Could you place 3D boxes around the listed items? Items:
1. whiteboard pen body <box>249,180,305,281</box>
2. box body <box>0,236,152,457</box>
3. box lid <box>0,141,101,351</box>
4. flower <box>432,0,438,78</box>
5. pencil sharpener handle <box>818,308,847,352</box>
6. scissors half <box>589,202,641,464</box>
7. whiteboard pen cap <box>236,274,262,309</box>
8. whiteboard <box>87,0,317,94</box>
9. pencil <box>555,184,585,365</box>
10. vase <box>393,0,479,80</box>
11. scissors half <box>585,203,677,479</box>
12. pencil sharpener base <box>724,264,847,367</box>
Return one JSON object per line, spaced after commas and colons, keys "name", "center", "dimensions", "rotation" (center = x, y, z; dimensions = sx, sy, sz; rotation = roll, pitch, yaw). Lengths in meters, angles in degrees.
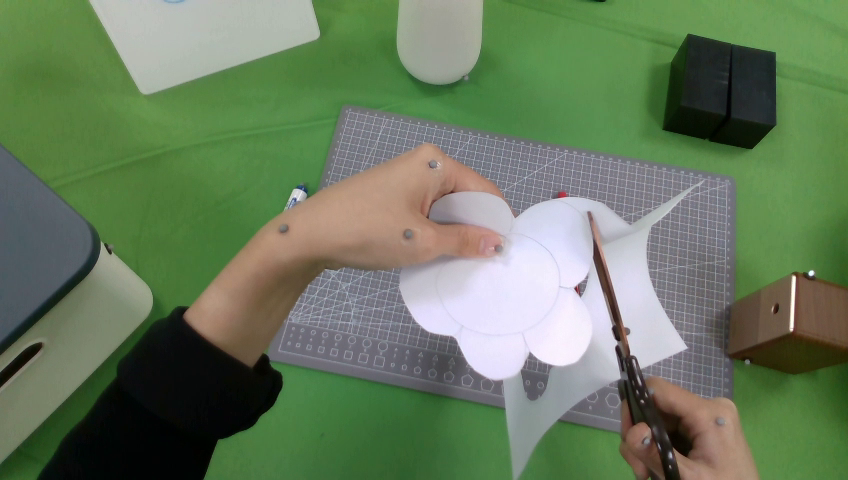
{"name": "whiteboard pen body", "center": [-0.155, -0.001, 0.623], "dimensions": [0.017, 0.017, 0.140], "rotation": [17, 68, 5]}
{"name": "box body", "center": [-0.462, 0.014, 0.529], "dimensions": [0.362, 0.161, 0.253], "rotation": [37, 72, 11]}
{"name": "box lid", "center": [-0.462, -0.014, 0.460], "dimensions": [0.370, 0.015, 0.262], "rotation": [37, 72, 11]}
{"name": "flower", "center": [0.012, -0.305, 0.561], "dimensions": [0.044, 0.365, 0.038], "rotation": [4, 51, 3]}
{"name": "pencil sharpener handle", "center": [0.394, 0.085, 0.553], "dimensions": [0.030, 0.068, 0.036], "rotation": [15, 63, 1]}
{"name": "scissors half", "center": [0.116, 0.059, 0.363], "dimensions": [0.013, 0.040, 0.176], "rotation": [-14, 110, 6]}
{"name": "whiteboard pen cap", "center": [-0.172, 0.051, 0.600], "dimensions": [0.018, 0.018, 0.033], "rotation": [17, 65, 5]}
{"name": "whiteboard", "center": [-0.268, -0.349, 0.632], "dimensions": [0.217, 0.308, 0.142], "rotation": [-22, 52, -9]}
{"name": "pencil", "center": [0.152, 0.032, 0.626], "dimensions": [0.012, 0.012, 0.192], "rotation": [-2, 71, -3]}
{"name": "vase", "center": [0.014, -0.260, 0.633], "dimensions": [0.098, 0.201, 0.097], "rotation": [0, 67, -1]}
{"name": "scissors half", "center": [0.116, 0.063, 0.343], "dimensions": [0.013, 0.040, 0.175], "rotation": [-16, 89, 1]}
{"name": "pencil sharpener base", "center": [0.344, 0.075, 0.565], "dimensions": [0.077, 0.107, 0.061], "rotation": [15, 68, 1]}
